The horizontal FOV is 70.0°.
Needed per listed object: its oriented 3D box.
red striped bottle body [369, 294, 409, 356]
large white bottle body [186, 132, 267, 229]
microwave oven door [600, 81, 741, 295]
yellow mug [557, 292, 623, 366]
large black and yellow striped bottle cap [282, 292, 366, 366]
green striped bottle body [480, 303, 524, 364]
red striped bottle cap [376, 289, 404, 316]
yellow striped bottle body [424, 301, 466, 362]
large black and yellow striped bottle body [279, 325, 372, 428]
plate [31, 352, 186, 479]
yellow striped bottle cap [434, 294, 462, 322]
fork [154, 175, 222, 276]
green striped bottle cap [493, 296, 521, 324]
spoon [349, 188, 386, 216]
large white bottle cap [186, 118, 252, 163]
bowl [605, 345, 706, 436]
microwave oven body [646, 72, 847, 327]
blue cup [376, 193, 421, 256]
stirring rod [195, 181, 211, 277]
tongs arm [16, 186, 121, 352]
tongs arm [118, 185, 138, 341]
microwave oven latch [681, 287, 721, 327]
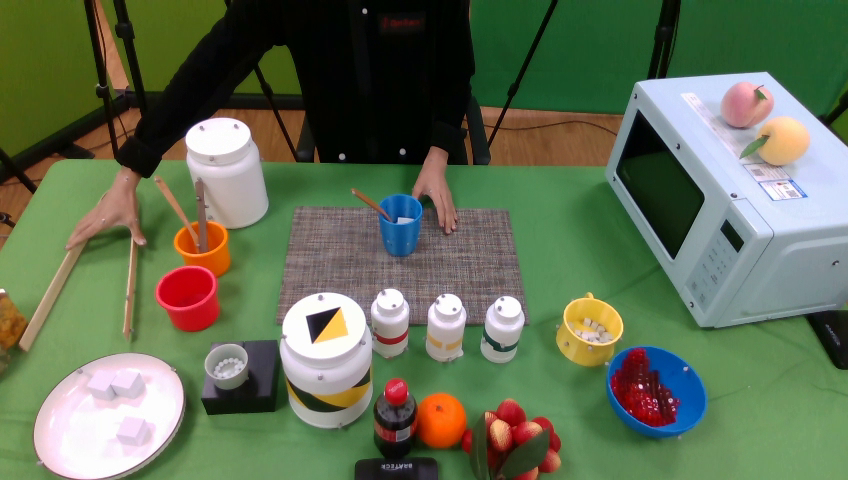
[{"bbox_3d":[-0.059,0.134,0.997,0.063,0.120,0.062,5,48,-5],"label":"red striped bottle body"},{"bbox_3d":[-0.382,-0.127,1.176,0.131,0.185,0.130,2,46,-2],"label":"large white bottle body"},{"bbox_3d":[0.454,-0.107,1.161,0.039,0.245,0.353,-6,47,-11],"label":"microwave oven door"},{"bbox_3d":[0.285,0.145,1.051,0.100,0.064,0.130,7,46,4],"label":"yellow mug"},{"bbox_3d":[-0.138,0.121,0.841,0.115,0.019,0.114,3,47,-3],"label":"large black and yellow striped bottle cap"},{"bbox_3d":[0.129,0.147,1.000,0.063,0.120,0.063,2,46,-2],"label":"green striped bottle body"},{"bbox_3d":[-0.054,0.098,0.958,0.044,0.018,0.044,0,48,1],"label":"red striped bottle cap"},{"bbox_3d":[0.035,0.143,0.995,0.063,0.121,0.062,3,46,-3],"label":"yellow striped bottle body"},{"bbox_3d":[-0.143,0.181,0.900,0.131,0.185,0.130,2,46,-2],"label":"large black and yellow striped bottle body"},{"bbox_3d":[-0.459,0.262,0.898,0.209,0.038,0.208,2,46,-2],"label":"plate"},{"bbox_3d":[0.038,0.107,0.958,0.044,0.019,0.044,2,45,-2],"label":"yellow striped bottle cap"},{"bbox_3d":[-0.431,-0.026,1.101,0.028,0.018,0.207,-33,100,-25],"label":"fork"},{"bbox_3d":[0.133,0.111,0.962,0.044,0.020,0.044,2,47,-2],"label":"green striped bottle cap"},{"bbox_3d":[-0.080,-0.045,1.122,0.021,0.195,0.041,-24,50,15],"label":"spoon"},{"bbox_3d":[-0.377,-0.185,1.115,0.115,0.018,0.114,3,47,-2],"label":"large white bottle cap"},{"bbox_3d":[0.351,0.247,0.950,0.151,0.077,0.150,2,46,-2],"label":"bowl"},{"bbox_3d":[0.607,-0.089,1.164,0.326,0.261,0.438,-7,46,-10],"label":"microwave oven body"},{"bbox_3d":[-0.048,-0.024,1.156,0.093,0.101,0.092,1,49,-1],"label":"blue cup"},{"bbox_3d":[-0.403,-0.020,1.104,0.014,0.006,0.176,-6,89,-8],"label":"stirring rod"},{"bbox_3d":[-0.642,0.036,1.107,0.028,0.028,0.385,-2,46,4],"label":"tongs arm"},{"bbox_3d":[-0.555,0.029,1.116,0.051,0.026,0.382,-11,47,-8],"label":"tongs arm"},{"bbox_3d":[0.494,0.119,1.087,0.030,0.029,0.078,-5,46,-9],"label":"microwave oven latch"}]
